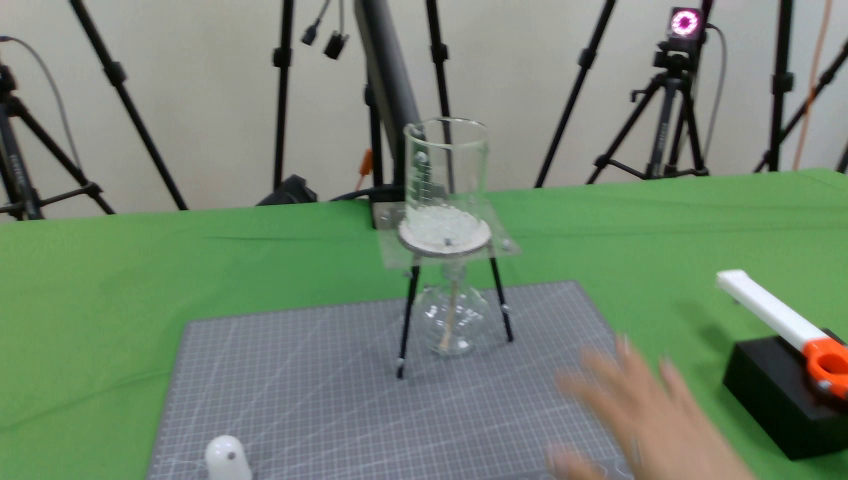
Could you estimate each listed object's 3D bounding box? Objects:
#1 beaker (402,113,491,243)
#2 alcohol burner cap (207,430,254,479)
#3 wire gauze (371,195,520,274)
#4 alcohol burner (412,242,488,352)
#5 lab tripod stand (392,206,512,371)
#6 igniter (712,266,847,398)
[{"bbox_3d":[0.015,-0.055,0.542,0.074,0.101,0.083,-25,39,-38],"label":"beaker"},{"bbox_3d":[-0.153,0.170,0.474,0.034,0.048,0.033,1,31,0],"label":"alcohol burner cap"},{"bbox_3d":[0.015,-0.012,0.566,0.122,0.011,0.124,-5,33,-9],"label":"wire gauze"},{"bbox_3d":[0.027,0.052,0.605,0.078,0.120,0.077,2,32,-1],"label":"alcohol burner"},{"bbox_3d":[0.019,0.042,0.603,0.148,0.132,0.147,1,29,0],"label":"lab tripod stand"},{"bbox_3d":[0.350,0.097,0.532,0.057,0.025,0.273,-6,28,-10],"label":"igniter"}]
